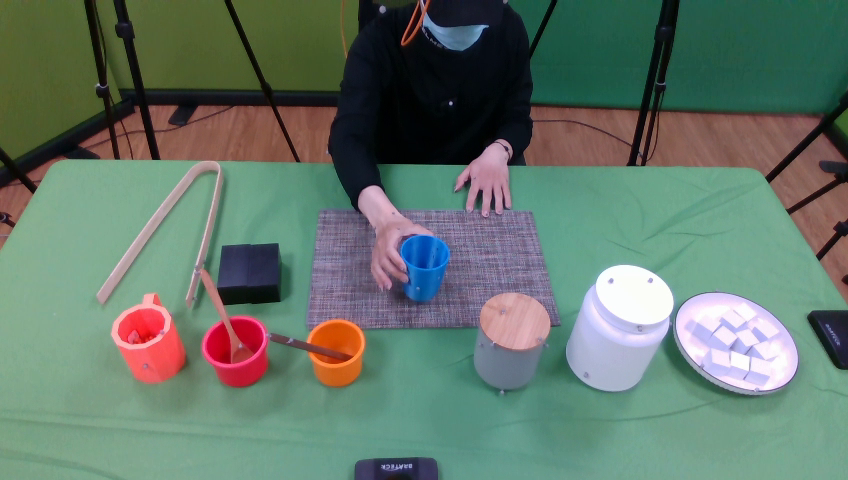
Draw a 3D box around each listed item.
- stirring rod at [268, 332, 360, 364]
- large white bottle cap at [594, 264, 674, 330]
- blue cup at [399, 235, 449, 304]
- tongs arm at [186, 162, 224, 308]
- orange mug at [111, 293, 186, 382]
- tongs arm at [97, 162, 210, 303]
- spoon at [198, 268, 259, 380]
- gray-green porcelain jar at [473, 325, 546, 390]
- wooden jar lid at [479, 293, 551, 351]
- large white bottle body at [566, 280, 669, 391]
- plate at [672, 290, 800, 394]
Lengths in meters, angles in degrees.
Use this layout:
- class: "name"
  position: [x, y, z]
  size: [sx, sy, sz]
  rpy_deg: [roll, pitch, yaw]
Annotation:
- class: "stirring rod"
  position: [-0.167, 0.169, 0.942]
  size: [0.177, 0.006, 0.014]
  rpy_deg: [26, 26, -41]
- class: "large white bottle cap"
  position: [0.314, 0.083, 0.906]
  size: [0.115, 0.018, 0.114]
  rpy_deg: [2, 46, -2]
- class: "blue cup"
  position: [-0.005, 0.057, 1.050]
  size: [0.093, 0.100, 0.092]
  rpy_deg: [4, 45, -4]
- class: "tongs arm"
  position: [-0.436, -0.024, 1.181]
  size: [0.051, 0.026, 0.382]
  rpy_deg: [-2, 45, -1]
- class: "orange mug"
  position: [-0.435, 0.149, 0.969]
  size: [0.083, 0.101, 0.125]
  rpy_deg: [-5, 51, -8]
- class: "tongs arm"
  position: [-0.519, -0.029, 1.182]
  size: [0.028, 0.028, 0.385]
  rpy_deg: [6, 45, 12]
- class: "spoon"
  position: [-0.312, 0.132, 0.962]
  size: [0.041, 0.021, 0.194]
  rpy_deg: [-24, 96, -21]
- class: "gray-green porcelain jar"
  position: [0.135, 0.170, 0.969]
  size: [0.106, 0.127, 0.105]
  rpy_deg: [2, 46, -2]
- class: "wooden jar lid"
  position: [0.138, 0.127, 0.925]
  size: [0.108, 0.021, 0.107]
  rpy_deg: [1, 47, 0]
- class: "large white bottle body"
  position: [0.309, 0.142, 0.968]
  size: [0.131, 0.185, 0.130]
  rpy_deg: [2, 46, -2]
- class: "plate"
  position: [0.533, 0.178, 1.050]
  size: [0.208, 0.039, 0.206]
  rpy_deg: [2, 46, -2]
